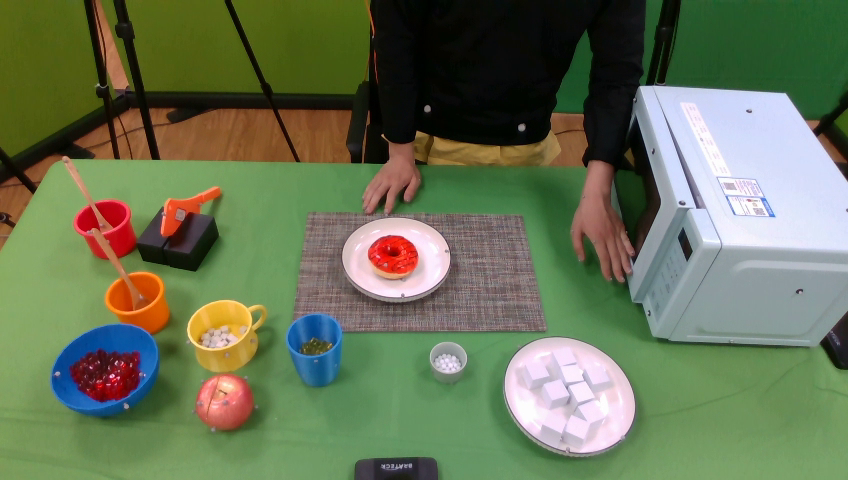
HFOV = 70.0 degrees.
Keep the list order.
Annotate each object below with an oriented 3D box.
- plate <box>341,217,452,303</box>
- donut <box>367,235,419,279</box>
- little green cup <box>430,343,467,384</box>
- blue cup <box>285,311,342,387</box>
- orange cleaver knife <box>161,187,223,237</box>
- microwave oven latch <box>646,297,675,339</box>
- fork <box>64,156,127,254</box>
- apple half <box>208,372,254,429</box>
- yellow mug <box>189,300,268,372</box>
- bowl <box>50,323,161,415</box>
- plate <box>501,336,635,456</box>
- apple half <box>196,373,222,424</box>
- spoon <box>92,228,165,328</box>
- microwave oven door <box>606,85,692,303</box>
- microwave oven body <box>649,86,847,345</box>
[{"bbox_3d":[-0.052,0.039,1.140,0.209,0.038,0.208,2,46,-2],"label":"plate"},{"bbox_3d":[-0.057,0.032,1.132,0.099,0.048,0.098,3,45,-3],"label":"donut"},{"bbox_3d":[0.038,0.203,0.994,0.061,0.039,0.061,2,46,-2],"label":"little green cup"},{"bbox_3d":[-0.170,0.180,0.957,0.093,0.101,0.092,2,44,-1],"label":"blue cup"},{"bbox_3d":[-0.448,-0.058,1.180,0.012,0.077,0.211,13,17,6],"label":"orange cleaver knife"},{"bbox_3d":[0.412,0.134,1.061,0.030,0.029,0.078,4,45,1],"label":"microwave oven latch"},{"bbox_3d":[-0.614,-0.064,1.130,0.028,0.018,0.207,-29,97,-16],"label":"fork"},{"bbox_3d":[-0.282,0.244,0.908,0.053,0.075,0.080,7,43,-1],"label":"apple half"},{"bbox_3d":[-0.315,0.149,1.002,0.131,0.064,0.099,-32,55,-31],"label":"yellow mug"},{"bbox_3d":[-0.472,0.209,0.924,0.151,0.077,0.150,2,45,-2],"label":"bowl"},{"bbox_3d":[0.225,0.248,0.963,0.208,0.039,0.206,2,46,-2],"label":"plate"},{"bbox_3d":[-0.322,0.239,0.906,0.033,0.081,0.081,7,46,0],"label":"apple half"},{"bbox_3d":[-0.496,0.063,1.014,0.041,0.194,0.021,-33,12,-31],"label":"spoon"},{"bbox_3d":[0.413,-0.094,1.140,0.039,0.245,0.353,4,46,1],"label":"microwave oven door"},{"bbox_3d":[0.567,-0.053,1.118,0.326,0.261,0.439,2,45,-1],"label":"microwave oven body"}]
